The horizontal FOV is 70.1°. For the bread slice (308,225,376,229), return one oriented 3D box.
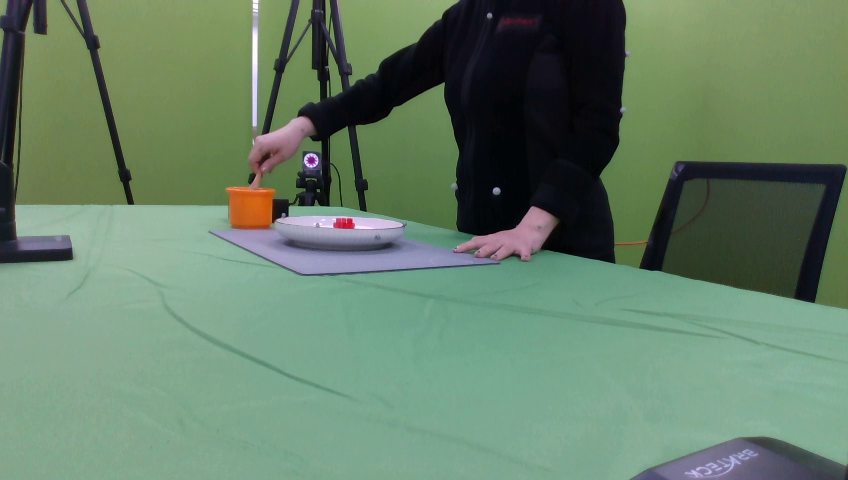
[{"bbox_3d":[-0.134,-0.011,0.974,0.135,0.018,0.106,-3,8,-33],"label":"bread slice"}]

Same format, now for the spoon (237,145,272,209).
[{"bbox_3d":[-0.328,-0.128,1.202,0.042,0.021,0.193,16,50,-11],"label":"spoon"}]

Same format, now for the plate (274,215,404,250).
[{"bbox_3d":[-0.137,-0.013,0.981,0.209,0.038,0.209,2,7,0],"label":"plate"}]
